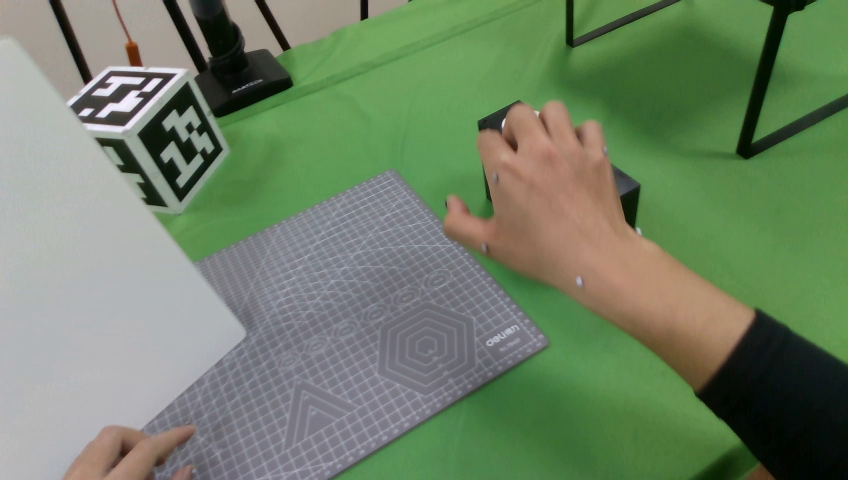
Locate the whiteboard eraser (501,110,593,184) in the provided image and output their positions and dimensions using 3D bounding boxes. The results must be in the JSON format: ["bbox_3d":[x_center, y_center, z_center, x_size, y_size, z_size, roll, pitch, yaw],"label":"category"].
[{"bbox_3d":[0.105,-0.084,0.527,0.041,0.019,0.100,-27,49,-17],"label":"whiteboard eraser"}]

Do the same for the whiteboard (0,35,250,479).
[{"bbox_3d":[-0.336,0.031,0.494,0.142,0.308,0.217,13,49,48],"label":"whiteboard"}]
